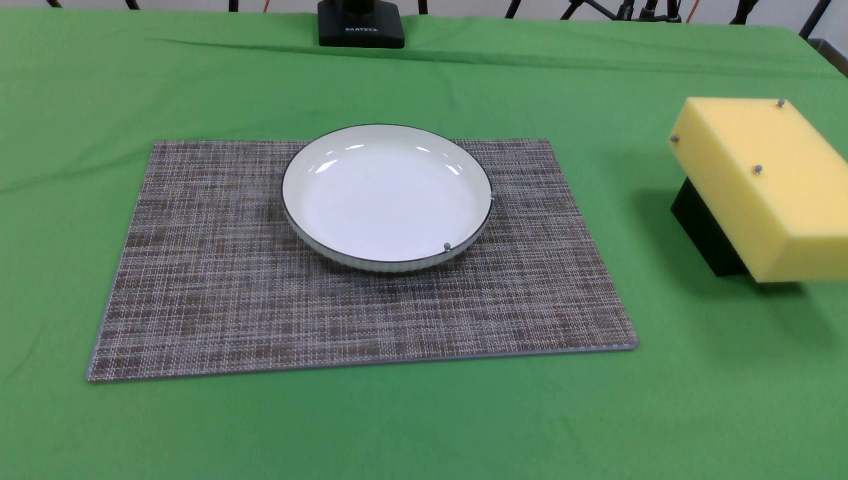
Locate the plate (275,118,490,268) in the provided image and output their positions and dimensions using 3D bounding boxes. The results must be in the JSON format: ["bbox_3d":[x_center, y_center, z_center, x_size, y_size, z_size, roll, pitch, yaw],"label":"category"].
[{"bbox_3d":[-0.040,-0.046,0.604,0.208,0.039,0.205,4,46,-4],"label":"plate"}]

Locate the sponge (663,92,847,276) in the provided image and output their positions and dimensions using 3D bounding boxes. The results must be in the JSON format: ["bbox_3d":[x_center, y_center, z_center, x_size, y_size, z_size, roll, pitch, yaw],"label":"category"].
[{"bbox_3d":[0.336,-0.062,0.590,0.118,0.061,0.204,-2,47,-9],"label":"sponge"}]
